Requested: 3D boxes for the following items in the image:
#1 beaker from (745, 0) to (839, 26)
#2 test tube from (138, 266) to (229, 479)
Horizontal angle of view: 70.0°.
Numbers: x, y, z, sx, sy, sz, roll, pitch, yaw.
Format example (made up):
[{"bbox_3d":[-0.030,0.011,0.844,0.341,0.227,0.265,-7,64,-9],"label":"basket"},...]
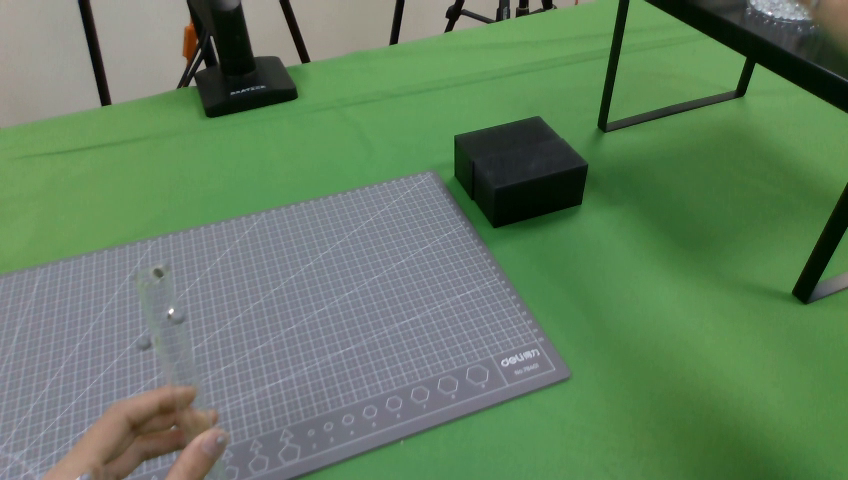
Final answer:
[{"bbox_3d":[0.308,-0.233,0.490,0.084,0.101,0.073,-14,43,-11],"label":"beaker"},{"bbox_3d":[-0.123,0.080,0.315,0.017,0.151,0.017,-1,30,1],"label":"test tube"}]
